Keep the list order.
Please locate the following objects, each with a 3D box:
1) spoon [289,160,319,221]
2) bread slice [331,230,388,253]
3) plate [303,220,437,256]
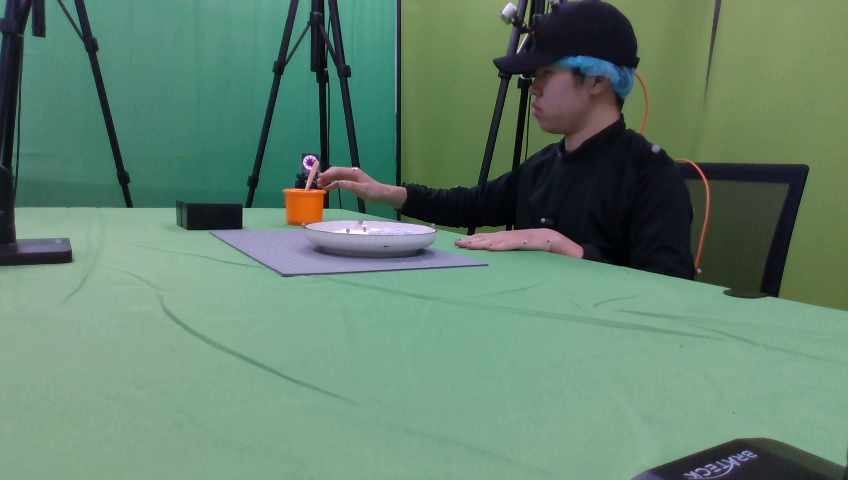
[{"bbox_3d":[-0.259,-0.112,1.339,0.041,0.193,0.022,2,-37,10],"label":"spoon"},{"bbox_3d":[-0.088,0.000,0.947,0.105,0.019,0.131,-4,11,-44],"label":"bread slice"},{"bbox_3d":[-0.084,-0.003,0.951,0.209,0.038,0.209,3,7,0],"label":"plate"}]
